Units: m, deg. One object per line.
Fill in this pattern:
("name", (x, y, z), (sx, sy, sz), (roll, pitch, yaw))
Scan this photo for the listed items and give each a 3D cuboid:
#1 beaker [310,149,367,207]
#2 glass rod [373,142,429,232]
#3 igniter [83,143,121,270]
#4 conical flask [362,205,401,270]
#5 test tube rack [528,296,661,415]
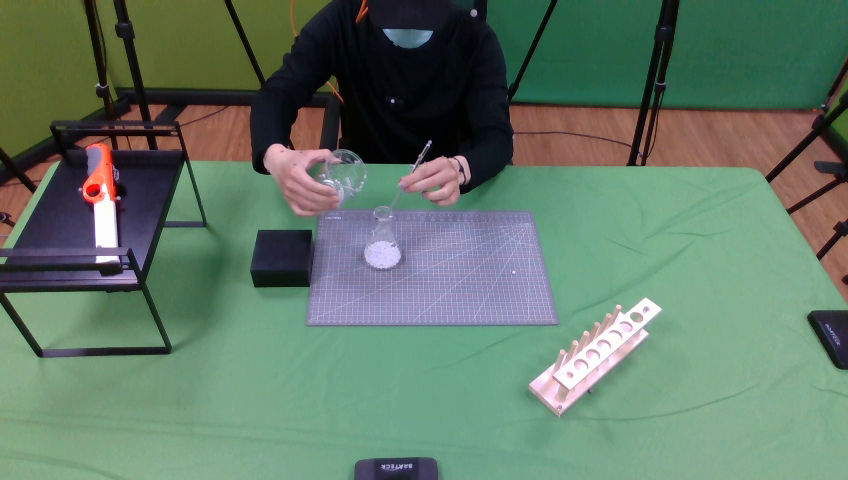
("beaker", (-0.155, -0.105, 1.087), (0.074, 0.100, 0.084), (-33, 90, -36))
("glass rod", (-0.043, -0.090, 1.066), (0.008, 0.200, 0.008), (26, 28, -15))
("igniter", (-0.509, -0.063, 0.961), (0.057, 0.025, 0.274), (-14, 53, -17))
("conical flask", (-0.078, -0.008, 1.127), (0.075, 0.122, 0.075), (2, 46, -2))
("test tube rack", (0.285, 0.178, 1.005), (0.242, 0.085, 0.066), (-31, 55, -29))
